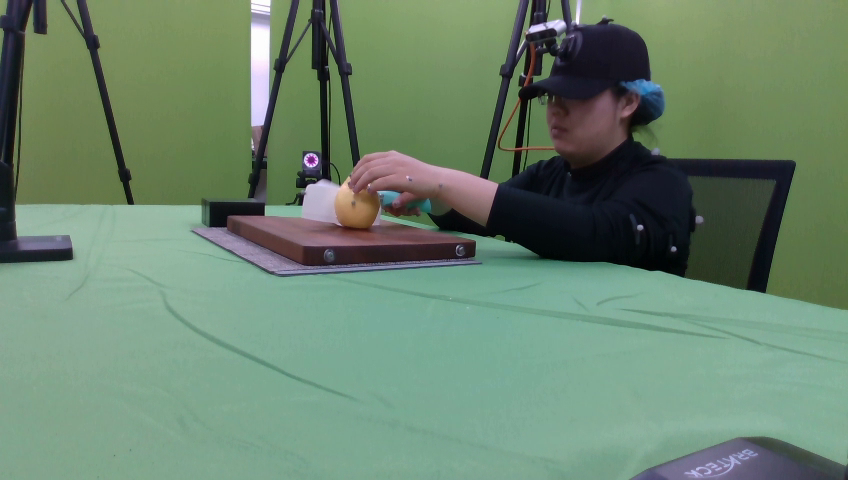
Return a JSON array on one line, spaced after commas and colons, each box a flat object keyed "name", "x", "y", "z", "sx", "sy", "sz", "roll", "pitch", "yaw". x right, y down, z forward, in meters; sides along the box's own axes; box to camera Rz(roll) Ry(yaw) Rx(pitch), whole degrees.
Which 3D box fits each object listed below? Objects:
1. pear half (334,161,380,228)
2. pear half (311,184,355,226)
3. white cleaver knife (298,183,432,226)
[{"name": "pear half", "x": -0.101, "y": -0.073, "z": 0.974, "sx": 0.055, "sy": 0.109, "sz": 0.077, "roll": 8, "pitch": 9, "yaw": 40}, {"name": "pear half", "x": -0.159, "y": -0.054, "z": 1.008, "sx": 0.088, "sy": 0.031, "sz": 0.070, "roll": 42, "pitch": 35, "yaw": 2}, {"name": "white cleaver knife", "x": -0.093, "y": -0.056, "z": 1.027, "sx": 0.288, "sy": 0.066, "sz": 0.021, "roll": 1, "pitch": 11, "yaw": -45}]
